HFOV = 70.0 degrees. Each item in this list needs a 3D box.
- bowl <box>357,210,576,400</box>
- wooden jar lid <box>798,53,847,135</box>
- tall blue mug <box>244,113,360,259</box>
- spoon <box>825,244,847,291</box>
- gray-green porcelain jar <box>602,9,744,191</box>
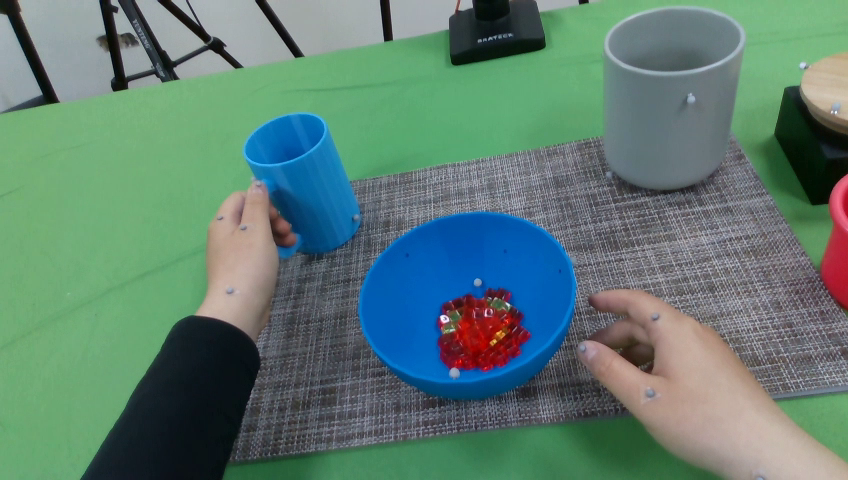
[{"bbox_3d":[0.034,0.058,0.437,0.151,0.077,0.150,-8,45,8],"label":"bowl"},{"bbox_3d":[0.364,-0.116,0.489,0.108,0.021,0.107,-9,44,9],"label":"wooden jar lid"},{"bbox_3d":[-0.110,-0.040,0.553,0.078,0.109,0.106,-8,45,7],"label":"tall blue mug"},{"bbox_3d":[0.352,-0.033,0.393,0.022,0.194,0.041,23,32,-25],"label":"spoon"},{"bbox_3d":[0.208,-0.114,0.522,0.106,0.128,0.105,-8,45,9],"label":"gray-green porcelain jar"}]
